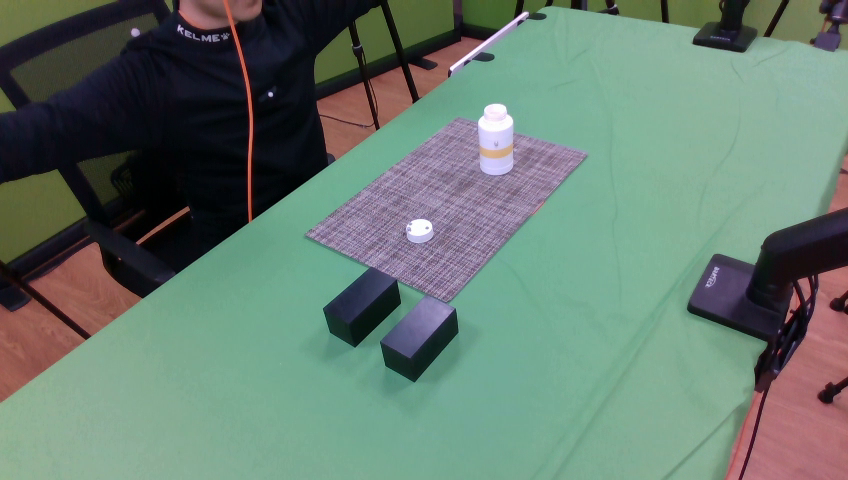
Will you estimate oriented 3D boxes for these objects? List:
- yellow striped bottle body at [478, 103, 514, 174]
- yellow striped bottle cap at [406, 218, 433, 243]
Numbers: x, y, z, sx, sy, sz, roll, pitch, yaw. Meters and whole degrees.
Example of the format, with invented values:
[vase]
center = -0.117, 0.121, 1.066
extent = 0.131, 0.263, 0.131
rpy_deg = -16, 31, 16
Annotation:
[yellow striped bottle body]
center = 0.129, -0.183, 1.080
extent = 0.063, 0.121, 0.062
rpy_deg = -4, 41, 4
[yellow striped bottle cap]
center = -0.007, -0.016, 0.987
extent = 0.044, 0.019, 0.044
rpy_deg = -4, 43, 4
